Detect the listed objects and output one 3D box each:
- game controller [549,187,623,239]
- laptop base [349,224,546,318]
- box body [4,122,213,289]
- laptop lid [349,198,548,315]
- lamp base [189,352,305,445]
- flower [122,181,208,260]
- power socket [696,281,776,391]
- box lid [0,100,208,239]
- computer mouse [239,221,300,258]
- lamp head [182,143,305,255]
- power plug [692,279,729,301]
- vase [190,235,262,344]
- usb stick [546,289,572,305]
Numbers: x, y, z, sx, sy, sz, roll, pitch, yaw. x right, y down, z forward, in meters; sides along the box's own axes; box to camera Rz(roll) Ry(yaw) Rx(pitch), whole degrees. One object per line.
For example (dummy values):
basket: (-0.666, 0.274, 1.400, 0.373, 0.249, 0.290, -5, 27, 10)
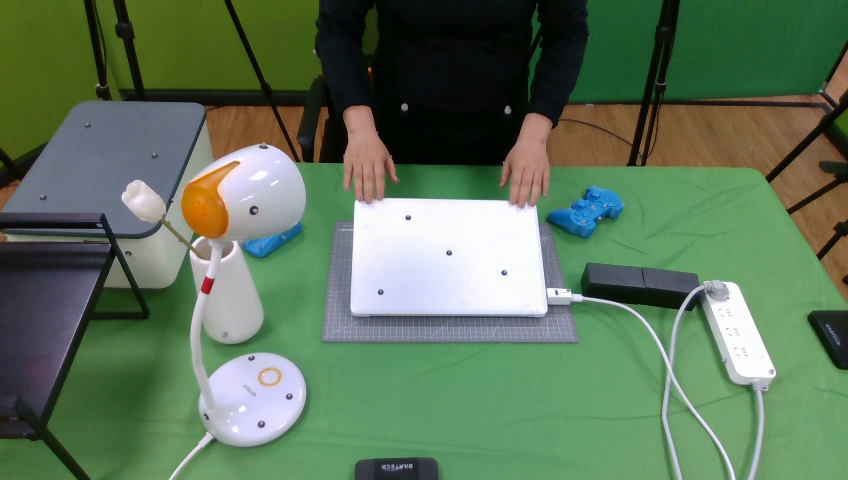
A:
game controller: (0.345, -0.065, 1.272, 0.155, 0.052, 0.096, -31, 58, -29)
laptop base: (0.040, 0.056, 1.149, 0.355, 0.023, 0.234, 1, 43, -4)
box body: (-0.563, -0.088, 1.139, 0.254, 0.161, 0.361, 2, 46, -3)
laptop lid: (0.043, 0.025, 1.109, 0.357, 0.013, 0.240, 2, 64, -3)
lamp base: (-0.268, 0.196, 0.876, 0.160, 0.181, 0.179, 25, 52, 20)
flower: (-0.329, 0.029, 0.905, 0.038, 0.364, 0.044, -21, 58, -1)
power socket: (0.550, 0.160, 1.078, 0.072, 0.033, 0.225, 2, 46, -1)
box lid: (-0.559, -0.138, 1.085, 0.263, 0.015, 0.369, 2, 46, -2)
computer mouse: (-0.300, -0.016, 1.178, 0.062, 0.041, 0.117, 35, 58, 23)
lamp head: (-0.216, -0.044, 0.697, 0.112, 0.113, 0.123, 23, 31, 17)
power plug: (0.522, 0.092, 1.115, 0.072, 0.053, 0.035, 8, 46, 7)
vase: (-0.317, 0.081, 0.971, 0.098, 0.201, 0.097, 3, 47, -3)
usb stick: (0.236, 0.103, 1.099, 0.059, 0.027, 0.021, -1, 49, -2)
